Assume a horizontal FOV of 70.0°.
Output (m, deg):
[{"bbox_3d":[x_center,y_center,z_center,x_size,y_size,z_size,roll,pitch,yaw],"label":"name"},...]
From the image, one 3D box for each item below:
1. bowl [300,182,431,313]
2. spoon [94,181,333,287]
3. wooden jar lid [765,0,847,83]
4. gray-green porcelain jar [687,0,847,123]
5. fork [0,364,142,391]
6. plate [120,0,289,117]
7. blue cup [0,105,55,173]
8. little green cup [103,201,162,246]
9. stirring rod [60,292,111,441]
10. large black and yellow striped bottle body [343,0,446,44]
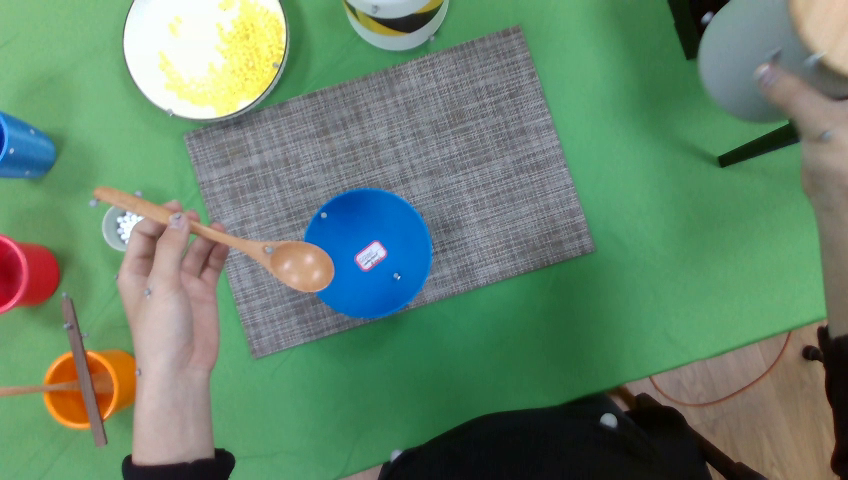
[{"bbox_3d":[-0.065,0.010,0.722,0.151,0.077,0.151,0,89,2],"label":"bowl"},{"bbox_3d":[-0.166,-0.008,0.489,0.195,0.021,0.041,22,97,-17],"label":"spoon"},{"bbox_3d":[0.266,-0.150,0.382,0.108,0.021,0.108,0,87,-2],"label":"wooden jar lid"},{"bbox_3d":[0.264,-0.147,0.444,0.106,0.126,0.105,0,88,-1],"label":"gray-green porcelain jar"},{"bbox_3d":[-0.439,0.164,0.699,0.209,0.018,0.028,4,90,-41],"label":"fork"},{"bbox_3d":[-0.271,-0.255,0.761,0.209,0.038,0.209,0,89,2],"label":"plate"},{"bbox_3d":[-0.508,-0.120,0.733,0.092,0.100,0.092,0,89,4],"label":"blue cup"},{"bbox_3d":[-0.362,-0.022,0.757,0.061,0.038,0.061,0,89,3],"label":"little green cup"},{"bbox_3d":[-0.389,0.144,0.695,0.014,0.006,0.176,-17,88,3],"label":"stirring rod"},{"bbox_3d":[-0.039,-0.315,0.682,0.131,0.184,0.130,0,88,2],"label":"large black and yellow striped bottle body"}]
